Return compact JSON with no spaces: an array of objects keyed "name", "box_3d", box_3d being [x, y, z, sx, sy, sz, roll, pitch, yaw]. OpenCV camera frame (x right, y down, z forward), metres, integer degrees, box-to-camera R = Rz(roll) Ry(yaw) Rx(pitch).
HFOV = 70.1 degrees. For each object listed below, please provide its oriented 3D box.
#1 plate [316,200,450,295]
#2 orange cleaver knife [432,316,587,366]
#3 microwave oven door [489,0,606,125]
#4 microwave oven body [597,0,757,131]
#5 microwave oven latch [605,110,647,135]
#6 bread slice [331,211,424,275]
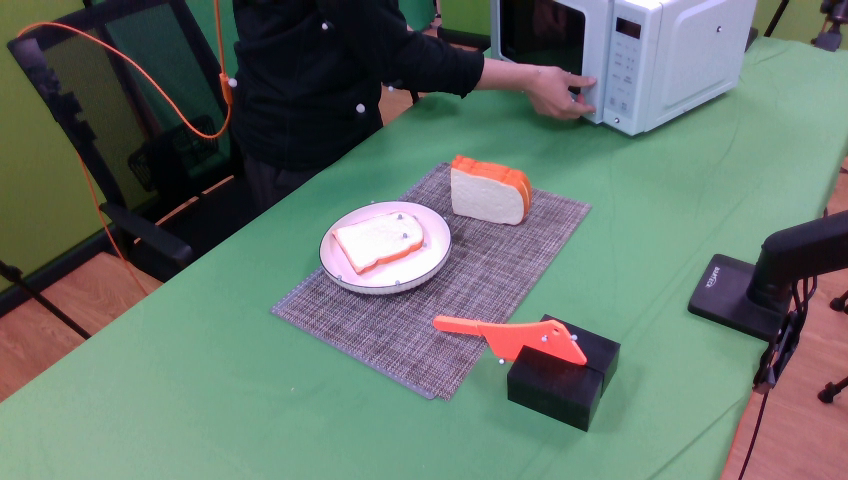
[{"name":"plate","box_3d":[-0.062,0.014,0.944,0.207,0.039,0.206,-4,41,4]},{"name":"orange cleaver knife","box_3d":[0.101,0.127,0.761,0.210,0.077,0.012,-1,34,40]},{"name":"microwave oven door","box_3d":[0.244,-0.409,1.217,0.039,0.245,0.352,-25,44,-19]},{"name":"microwave oven body","box_3d":[0.397,-0.449,1.248,0.327,0.261,0.437,-27,44,-21]},{"name":"microwave oven latch","box_3d":[0.379,-0.225,1.139,0.030,0.029,0.078,-26,43,-19]},{"name":"bread slice","box_3d":[-0.069,-0.002,0.960,0.135,0.018,0.106,-23,46,-21]}]
